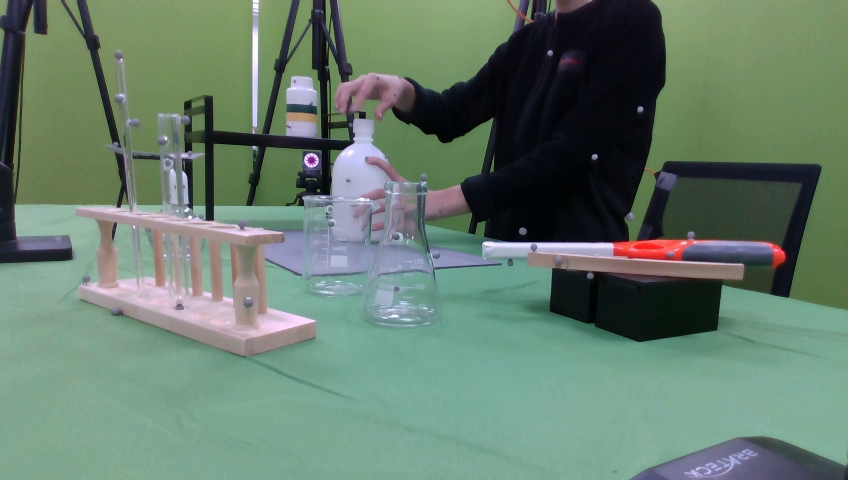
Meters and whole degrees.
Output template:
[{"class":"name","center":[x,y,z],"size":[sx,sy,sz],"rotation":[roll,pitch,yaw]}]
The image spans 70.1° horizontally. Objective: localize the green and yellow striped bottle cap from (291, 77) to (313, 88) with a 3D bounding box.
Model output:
[{"class":"green and yellow striped bottle cap","center":[-0.250,-0.321,1.238],"size":[0.045,0.020,0.045],"rotation":[3,6,0]}]

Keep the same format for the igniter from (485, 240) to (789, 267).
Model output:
[{"class":"igniter","center":[0.197,0.012,0.585],"size":[0.276,0.025,0.057],"rotation":[1,5,12]}]

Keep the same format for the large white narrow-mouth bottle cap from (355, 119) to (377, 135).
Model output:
[{"class":"large white narrow-mouth bottle cap","center":[-0.097,-0.190,1.015],"size":[0.038,0.024,0.037],"rotation":[4,7,0]}]

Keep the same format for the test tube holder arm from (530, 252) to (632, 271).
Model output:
[{"class":"test tube holder arm","center":[0.139,0.019,0.538],"size":[0.087,0.015,0.010],"rotation":[3,6,13]}]

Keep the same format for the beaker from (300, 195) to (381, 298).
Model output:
[{"class":"beaker","center":[-0.087,0.006,0.626],"size":[0.084,0.100,0.074],"rotation":[1,8,-17]}]

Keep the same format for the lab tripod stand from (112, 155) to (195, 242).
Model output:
[{"class":"lab tripod stand","center":[-0.405,-0.064,0.931],"size":[0.148,0.131,0.148],"rotation":[1,7,0]}]

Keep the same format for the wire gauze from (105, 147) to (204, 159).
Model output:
[{"class":"wire gauze","center":[-0.407,-0.131,0.928],"size":[0.125,0.011,0.121],"rotation":[2,6,-11]}]

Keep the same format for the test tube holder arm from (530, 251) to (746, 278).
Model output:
[{"class":"test tube holder arm","center":[0.182,0.022,0.523],"size":[0.178,0.015,0.013],"rotation":[3,6,12]}]

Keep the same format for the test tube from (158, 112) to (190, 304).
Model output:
[{"class":"test tube","center":[-0.194,-0.022,0.469],"size":[0.017,0.150,0.017],"rotation":[2,12,0]}]

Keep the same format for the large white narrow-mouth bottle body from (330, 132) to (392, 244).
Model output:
[{"class":"large white narrow-mouth bottle body","center":[-0.105,-0.095,1.027],"size":[0.102,0.194,0.102],"rotation":[4,7,0]}]

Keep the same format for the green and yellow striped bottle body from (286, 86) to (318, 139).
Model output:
[{"class":"green and yellow striped bottle body","center":[-0.251,-0.270,1.245],"size":[0.063,0.119,0.063],"rotation":[3,7,0]}]

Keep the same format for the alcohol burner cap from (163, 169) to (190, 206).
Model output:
[{"class":"alcohol burner cap","center":[-0.320,-0.067,0.782],"size":[0.034,0.048,0.034],"rotation":[1,7,0]}]

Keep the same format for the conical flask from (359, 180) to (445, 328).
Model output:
[{"class":"conical flask","center":[-0.017,0.010,0.522],"size":[0.075,0.122,0.075],"rotation":[2,7,0]}]

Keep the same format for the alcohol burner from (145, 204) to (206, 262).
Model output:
[{"class":"alcohol burner","center":[-0.321,-0.032,0.788],"size":[0.078,0.119,0.078],"rotation":[0,7,0]}]

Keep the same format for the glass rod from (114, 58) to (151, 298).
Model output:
[{"class":"glass rod","center":[-0.236,-0.044,0.492],"size":[0.008,0.199,0.008],"rotation":[0,15,0]}]

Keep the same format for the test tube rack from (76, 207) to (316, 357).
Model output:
[{"class":"test tube rack","center":[-0.196,0.023,0.500],"size":[0.241,0.085,0.067],"rotation":[8,9,36]}]
